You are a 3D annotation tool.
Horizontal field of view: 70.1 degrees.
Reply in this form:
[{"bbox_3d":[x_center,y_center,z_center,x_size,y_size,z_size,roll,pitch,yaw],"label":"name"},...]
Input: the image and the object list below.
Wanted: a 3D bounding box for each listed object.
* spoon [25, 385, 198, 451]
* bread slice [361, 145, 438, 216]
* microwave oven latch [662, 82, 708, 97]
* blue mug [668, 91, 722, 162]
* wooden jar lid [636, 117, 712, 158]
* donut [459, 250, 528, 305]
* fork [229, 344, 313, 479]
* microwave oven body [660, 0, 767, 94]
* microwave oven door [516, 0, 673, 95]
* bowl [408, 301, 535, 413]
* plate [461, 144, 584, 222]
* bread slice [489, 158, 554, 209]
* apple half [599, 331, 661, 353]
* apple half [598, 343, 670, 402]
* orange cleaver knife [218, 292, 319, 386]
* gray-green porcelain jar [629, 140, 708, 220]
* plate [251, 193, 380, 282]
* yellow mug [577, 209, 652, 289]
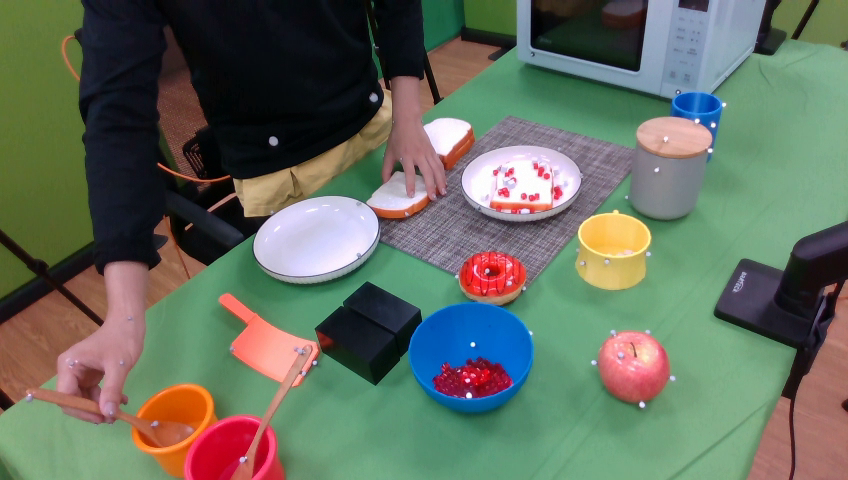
[{"bbox_3d":[-0.334,0.191,0.661,0.021,0.195,0.041,-35,42,16],"label":"spoon"},{"bbox_3d":[-0.052,-0.103,1.046,0.106,0.018,0.134,19,67,22],"label":"bread slice"},{"bbox_3d":[0.518,-0.298,1.203,0.078,0.029,0.030,28,53,35],"label":"microwave oven latch"},{"bbox_3d":[0.474,-0.207,1.079,0.082,0.106,0.116,4,42,13],"label":"blue mug"},{"bbox_3d":[0.377,-0.151,0.917,0.108,0.021,0.108,-2,41,3],"label":"wooden jar lid"},{"bbox_3d":[0.100,0.053,0.872,0.099,0.048,0.098,-5,41,4],"label":"donut"},{"bbox_3d":[-0.173,0.205,0.662,0.028,0.019,0.207,29,94,36],"label":"fork"},{"bbox_3d":[0.473,-0.517,1.313,0.438,0.261,0.327,26,51,34],"label":"microwave oven body"},{"bbox_3d":[0.344,-0.458,1.256,0.353,0.245,0.039,26,51,33],"label":"microwave oven door"},{"bbox_3d":[0.060,0.156,0.739,0.151,0.077,0.150,-4,40,4],"label":"bowl"},{"bbox_3d":[0.167,-0.095,1.040,0.207,0.039,0.206,-4,40,4],"label":"plate"},{"bbox_3d":[0.172,-0.100,1.046,0.104,0.019,0.131,3,41,12],"label":"bread slice"},{"bbox_3d":[0.249,0.134,0.738,0.081,0.081,0.032,-1,46,7],"label":"apple half"},{"bbox_3d":[0.247,0.161,0.710,0.081,0.075,0.053,2,47,5],"label":"apple half"},{"bbox_3d":[-0.235,0.136,0.850,0.209,0.012,0.077,25,57,30],"label":"orange cleaver knife"},{"bbox_3d":[0.383,-0.104,0.958,0.106,0.127,0.105,-4,41,4],"label":"gray-green porcelain jar"},{"bbox_3d":[-0.174,-0.001,0.984,0.209,0.038,0.208,-3,40,3],"label":"plate"},{"bbox_3d":[0.279,0.004,0.893,0.099,0.064,0.130,5,41,15],"label":"yellow mug"}]
